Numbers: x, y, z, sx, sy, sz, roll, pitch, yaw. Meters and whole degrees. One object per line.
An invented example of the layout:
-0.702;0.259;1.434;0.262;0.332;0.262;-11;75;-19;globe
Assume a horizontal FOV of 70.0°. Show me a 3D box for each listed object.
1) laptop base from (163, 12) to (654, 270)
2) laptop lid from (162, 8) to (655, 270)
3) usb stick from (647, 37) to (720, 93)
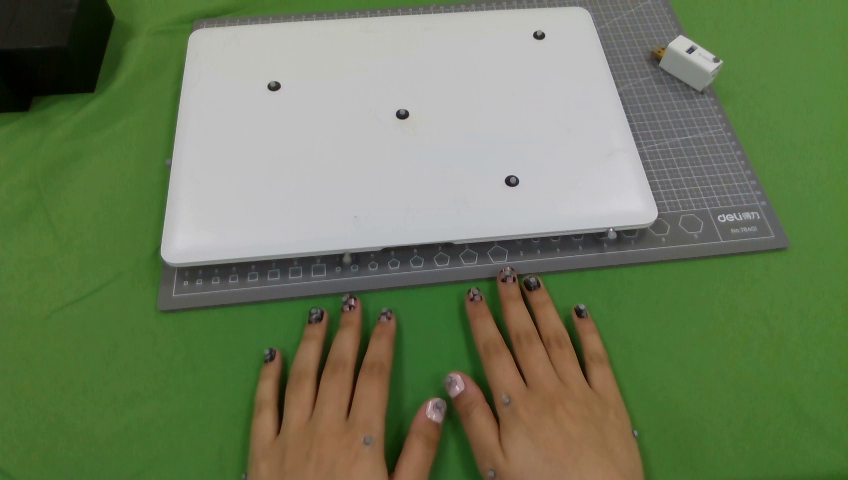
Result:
-0.018;-0.091;0.490;0.355;0.023;0.233;-5;62;-4;laptop base
-0.017;-0.095;0.479;0.357;0.013;0.239;-4;60;-3;laptop lid
0.222;-0.155;0.526;0.021;0.027;0.058;-38;64;-22;usb stick
